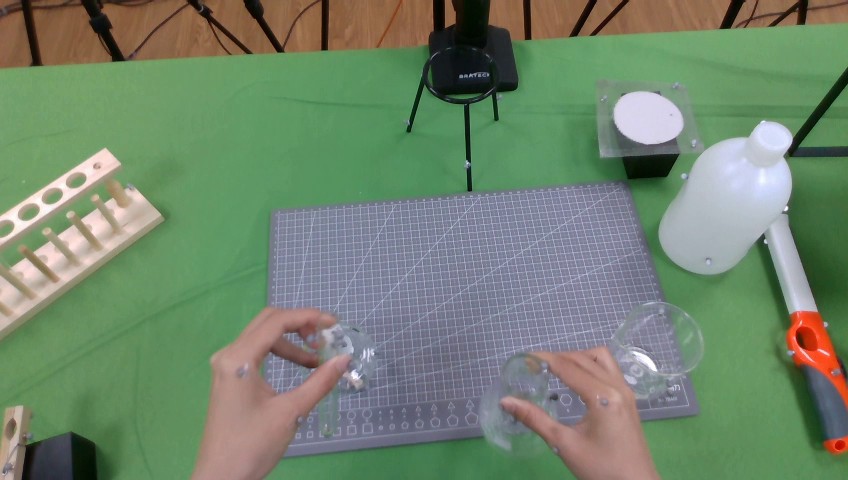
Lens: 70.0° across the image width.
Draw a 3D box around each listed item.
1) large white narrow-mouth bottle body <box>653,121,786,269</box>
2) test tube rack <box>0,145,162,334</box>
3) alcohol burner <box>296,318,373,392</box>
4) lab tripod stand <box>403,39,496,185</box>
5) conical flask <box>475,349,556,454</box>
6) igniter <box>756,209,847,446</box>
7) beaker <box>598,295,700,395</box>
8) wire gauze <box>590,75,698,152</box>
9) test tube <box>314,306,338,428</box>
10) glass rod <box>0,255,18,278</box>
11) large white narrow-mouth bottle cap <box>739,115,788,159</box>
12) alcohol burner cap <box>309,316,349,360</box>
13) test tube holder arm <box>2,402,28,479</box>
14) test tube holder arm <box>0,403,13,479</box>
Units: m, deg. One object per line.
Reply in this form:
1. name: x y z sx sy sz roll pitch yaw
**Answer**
1. large white narrow-mouth bottle body: 0.320 -0.053 0.646 0.102 0.196 0.101 0 60 1
2. test tube rack: -0.430 0.006 0.679 0.066 0.086 0.242 40 68 20
3. alcohol burner: -0.090 0.108 0.601 0.078 0.120 0.077 1 59 -1
4. lab tripod stand: 0.041 -0.163 0.745 0.148 0.132 0.147 1 61 -1
5. conical flask: 0.080 0.133 0.518 0.075 0.123 0.074 -3 58 4
6. igniter: 0.412 0.084 0.664 0.057 0.025 0.274 5 60 -8
7. beaker: 0.216 0.110 0.606 0.084 0.101 0.073 0 60 2
8. wire gauze: 0.271 -0.159 0.757 0.121 0.011 0.124 2 60 2
9. test tube: -0.073 0.100 0.452 0.017 0.151 0.017 5 45 -5
10. glass rod: -0.464 -0.018 0.617 0.008 0.201 0.008 1 52 -1
11. large white narrow-mouth bottle cap: 0.319 -0.097 0.572 0.038 0.024 0.037 0 60 1
12. alcohol burner cap: -0.091 0.090 0.569 0.034 0.048 0.033 -3 60 5
13. test tube holder arm: -0.370 0.234 0.536 0.013 0.015 0.177 -12 65 1
14. test tube holder arm: -0.383 0.195 0.555 0.010 0.015 0.087 -11 65 1
